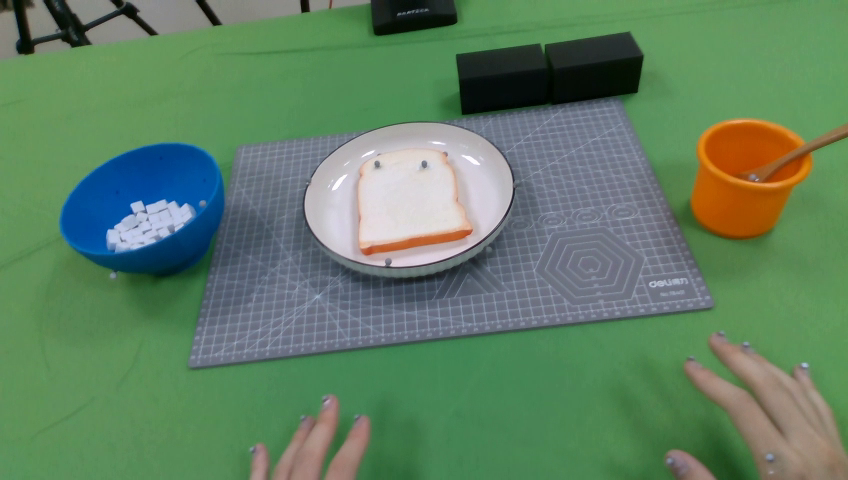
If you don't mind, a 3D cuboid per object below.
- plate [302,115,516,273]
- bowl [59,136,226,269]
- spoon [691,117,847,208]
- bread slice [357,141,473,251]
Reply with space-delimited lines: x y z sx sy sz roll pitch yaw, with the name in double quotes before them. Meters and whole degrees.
"plate" -0.015 -0.046 0.601 0.209 0.038 0.207 -4 49 5
"bowl" -0.259 -0.024 0.593 0.151 0.077 0.150 -4 49 5
"spoon" 0.318 -0.076 0.510 0.022 0.193 0.041 32 49 -24
"bread slice" -0.018 -0.048 0.606 0.107 0.018 0.133 -12 50 -2
